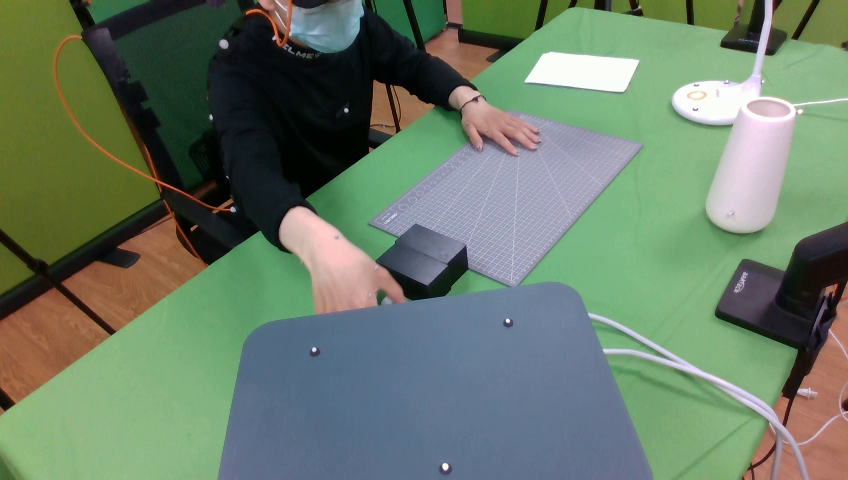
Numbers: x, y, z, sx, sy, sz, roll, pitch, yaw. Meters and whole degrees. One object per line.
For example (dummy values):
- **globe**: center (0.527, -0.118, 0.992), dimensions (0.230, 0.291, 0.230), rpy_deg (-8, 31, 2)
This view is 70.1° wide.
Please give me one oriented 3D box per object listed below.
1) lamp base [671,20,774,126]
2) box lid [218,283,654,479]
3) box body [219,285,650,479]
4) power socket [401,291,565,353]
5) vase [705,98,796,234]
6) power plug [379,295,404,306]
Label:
- **lamp base**: center (0.581, -0.332, 1.153), dimensions (0.179, 0.181, 0.160), rpy_deg (2, 41, 7)
- **box lid**: center (-0.004, 0.154, 0.571), dimensions (0.372, 0.015, 0.261), rpy_deg (-8, 40, -1)
- **box body**: center (0.005, 0.210, 0.618), dimensions (0.364, 0.161, 0.252), rpy_deg (-8, 40, -1)
- **power socket**: center (0.080, 0.111, 0.823), dimensions (0.227, 0.033, 0.072), rpy_deg (-5, 41, 1)
- **vase**: center (0.480, -0.103, 0.889), dimensions (0.098, 0.201, 0.097), rpy_deg (-4, 42, 4)
- **power plug**: center (-0.028, 0.103, 0.797), dimensions (0.072, 0.052, 0.035), rpy_deg (42, 87, -2)
